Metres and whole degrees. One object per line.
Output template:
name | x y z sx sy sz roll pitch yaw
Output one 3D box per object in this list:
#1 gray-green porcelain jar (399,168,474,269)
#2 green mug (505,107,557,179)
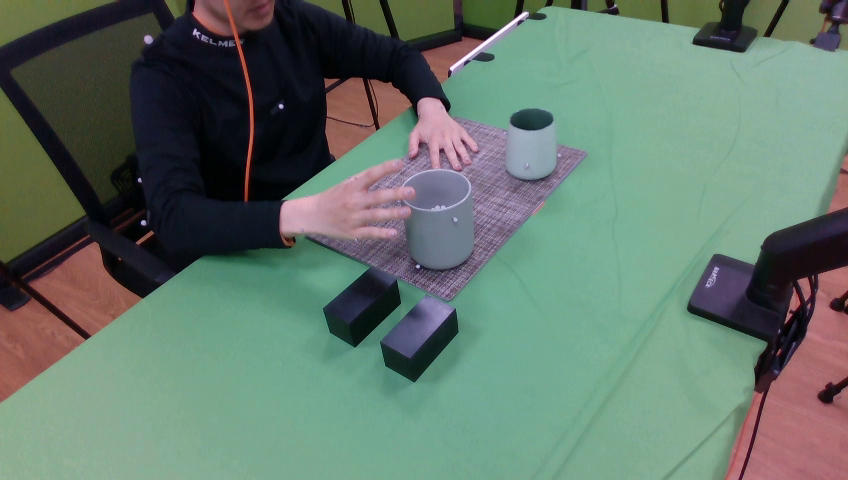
gray-green porcelain jar | 0.022 -0.027 0.911 0.106 0.127 0.105 -4 41 4
green mug | 0.189 -0.180 1.082 0.092 0.105 0.124 -6 41 2
